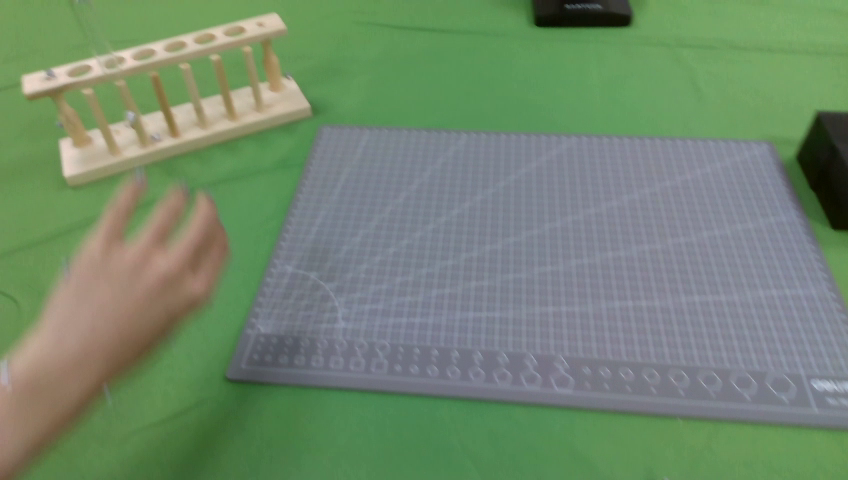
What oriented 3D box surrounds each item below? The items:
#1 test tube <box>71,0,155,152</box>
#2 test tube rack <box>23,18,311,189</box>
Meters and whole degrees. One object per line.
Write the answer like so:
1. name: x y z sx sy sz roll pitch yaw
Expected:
1. test tube: -0.277 -0.143 0.543 0.017 0.151 0.017 -2 46 2
2. test tube rack: -0.244 -0.138 0.599 0.243 0.086 0.066 -21 49 -16
